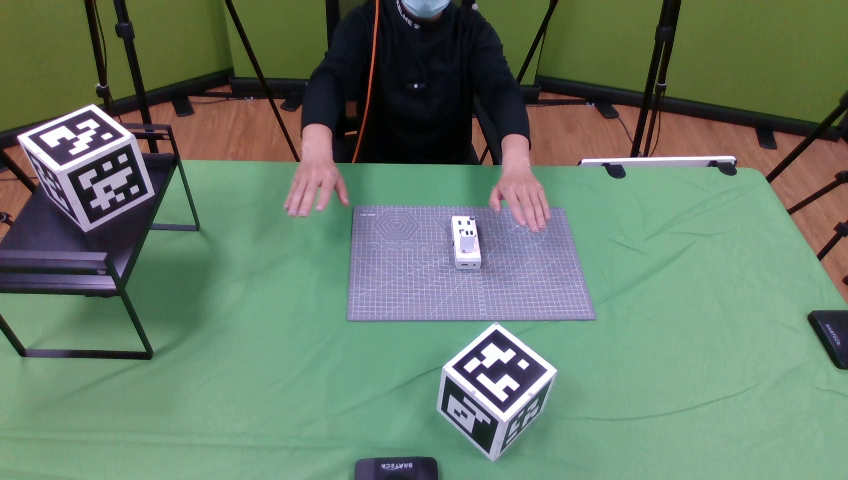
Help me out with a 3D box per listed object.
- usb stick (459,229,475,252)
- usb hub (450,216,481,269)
[{"bbox_3d":[0.081,0.006,1.151,0.027,0.059,0.021,-1,45,-6],"label":"usb stick"},{"bbox_3d":[0.082,0.003,1.194,0.049,0.025,0.124,0,46,-4],"label":"usb hub"}]
